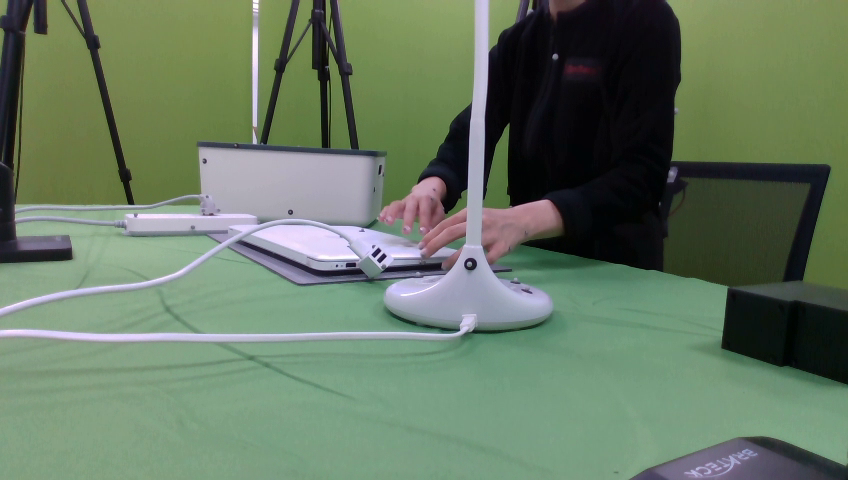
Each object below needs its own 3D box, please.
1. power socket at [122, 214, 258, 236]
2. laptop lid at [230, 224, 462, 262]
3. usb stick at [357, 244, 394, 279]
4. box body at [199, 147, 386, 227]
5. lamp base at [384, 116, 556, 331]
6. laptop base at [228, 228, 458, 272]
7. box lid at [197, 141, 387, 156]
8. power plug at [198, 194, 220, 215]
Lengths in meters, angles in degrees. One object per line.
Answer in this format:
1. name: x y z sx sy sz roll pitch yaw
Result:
1. power socket: -0.399 -0.028 1.049 0.228 0.032 0.072 -3 8 -34
2. laptop lid: -0.119 0.000 0.889 0.243 0.013 0.355 1 7 -33
3. usb stick: -0.057 0.027 0.684 0.027 0.021 0.059 41 -27 -3
4. box body: -0.276 -0.124 1.335 0.364 0.160 0.254 3 7 1
5. lamp base: 0.046 -0.019 0.545 0.161 0.180 0.179 1 10 -4
6. laptop base: -0.122 0.012 0.889 0.237 0.023 0.352 1 6 -35
7. box lid: -0.275 -0.198 1.325 0.372 0.015 0.263 3 8 1
8. power plug: -0.387 -0.055 1.089 0.035 0.052 0.072 -1 7 -22
